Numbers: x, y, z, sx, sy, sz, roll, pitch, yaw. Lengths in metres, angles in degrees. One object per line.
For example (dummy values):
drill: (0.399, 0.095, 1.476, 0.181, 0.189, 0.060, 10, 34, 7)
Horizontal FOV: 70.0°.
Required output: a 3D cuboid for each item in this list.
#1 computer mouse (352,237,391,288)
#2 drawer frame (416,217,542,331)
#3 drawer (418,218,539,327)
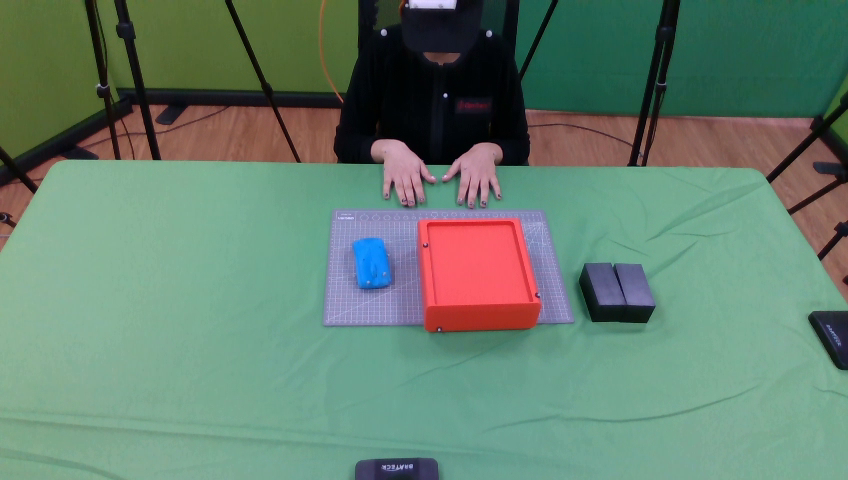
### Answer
computer mouse: (-0.100, 0.039, 1.140, 0.063, 0.041, 0.116, -4, 51, -11)
drawer frame: (0.093, 0.056, 1.106, 0.202, 0.083, 0.212, -1, 47, -6)
drawer: (0.092, 0.055, 1.108, 0.195, 0.073, 0.210, 0, 47, -6)
